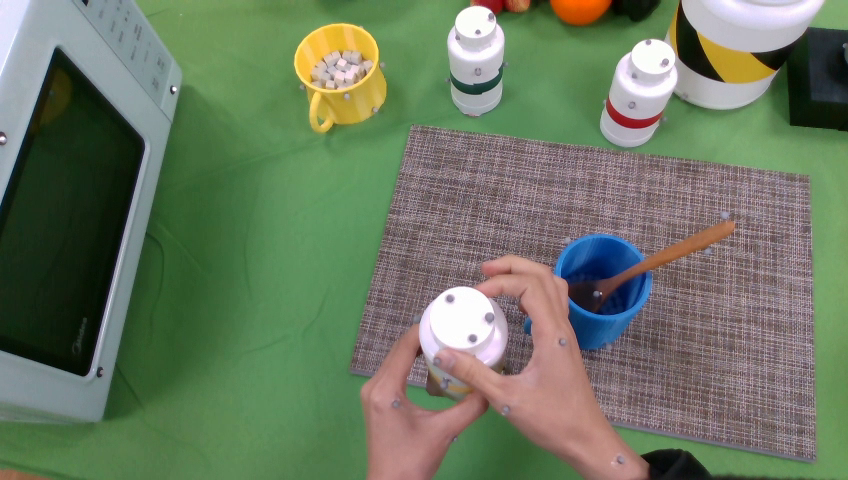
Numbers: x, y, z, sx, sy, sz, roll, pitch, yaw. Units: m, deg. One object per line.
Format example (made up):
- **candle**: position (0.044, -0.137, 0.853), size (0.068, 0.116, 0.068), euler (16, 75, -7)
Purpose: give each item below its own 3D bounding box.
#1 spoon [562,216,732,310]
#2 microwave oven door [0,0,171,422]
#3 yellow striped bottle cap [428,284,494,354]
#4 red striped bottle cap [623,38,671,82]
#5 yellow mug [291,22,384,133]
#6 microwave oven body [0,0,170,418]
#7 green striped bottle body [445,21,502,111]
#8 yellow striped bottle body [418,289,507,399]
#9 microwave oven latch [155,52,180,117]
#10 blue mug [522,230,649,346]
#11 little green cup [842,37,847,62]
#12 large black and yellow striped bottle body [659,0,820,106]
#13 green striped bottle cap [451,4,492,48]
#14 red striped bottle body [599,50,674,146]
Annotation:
- **spoon**: position (0.184, 0.027, 0.538), size (0.022, 0.194, 0.041), euler (8, 61, -30)
- **microwave oven door**: position (-0.341, -0.027, 0.564), size (0.039, 0.245, 0.353), euler (0, 67, 6)
- **yellow striped bottle cap**: position (0.024, 0.052, 0.402), size (0.044, 0.019, 0.044), euler (-2, 64, 4)
- **red striped bottle cap**: position (0.224, -0.181, 0.607), size (0.044, 0.018, 0.044), euler (0, 67, 1)
- **yellow mug**: position (-0.108, -0.188, 0.726), size (0.099, 0.064, 0.130), euler (18, 71, 12)
- **microwave oven body**: position (-0.484, -0.064, 0.598), size (0.326, 0.262, 0.438), euler (0, 68, 5)
- **green striped bottle body**: position (0.056, -0.206, 0.689), size (0.063, 0.120, 0.062), euler (-2, 67, 4)
- **yellow striped bottle body**: position (0.029, 0.075, 0.450), size (0.063, 0.121, 0.062), euler (-2, 63, 4)
- **microwave oven latch**: position (-0.321, -0.189, 0.740), size (0.030, 0.030, 0.078), euler (2, 68, 5)
- **blue mug**: position (0.145, 0.056, 0.577), size (0.116, 0.106, 0.081), euler (-26, 67, -6)
- **little green cup**: position (0.481, -0.210, 0.642), size (0.061, 0.039, 0.061), euler (-1, 66, 2)
- **large black and yellow striped bottle body**: position (0.335, -0.246, 0.647), size (0.131, 0.185, 0.130), euler (-2, 67, 5)
- **green striped bottle cap**: position (0.050, -0.227, 0.641), size (0.044, 0.020, 0.044), euler (-1, 67, 3)
- **red striped bottle body**: position (0.229, -0.160, 0.655), size (0.063, 0.120, 0.062), euler (-3, 65, 7)
